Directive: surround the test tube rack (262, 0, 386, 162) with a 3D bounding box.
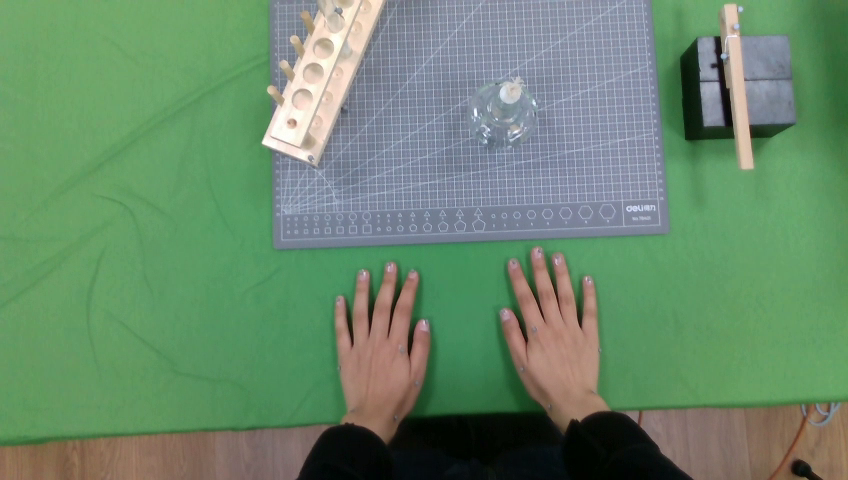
[{"bbox_3d":[-0.112,-0.218,0.671,0.066,0.085,0.242,22,85,4],"label":"test tube rack"}]

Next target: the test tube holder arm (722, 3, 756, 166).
[{"bbox_3d":[0.331,-0.165,0.639,0.015,0.013,0.177,-4,80,12],"label":"test tube holder arm"}]

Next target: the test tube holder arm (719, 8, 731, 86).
[{"bbox_3d":[0.330,-0.209,0.651,0.015,0.010,0.087,-4,80,12],"label":"test tube holder arm"}]

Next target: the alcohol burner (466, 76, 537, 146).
[{"bbox_3d":[0.084,-0.143,0.646,0.078,0.119,0.077,0,83,0],"label":"alcohol burner"}]

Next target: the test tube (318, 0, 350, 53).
[{"bbox_3d":[-0.092,-0.226,0.622,0.017,0.150,0.017,0,86,1],"label":"test tube"}]
